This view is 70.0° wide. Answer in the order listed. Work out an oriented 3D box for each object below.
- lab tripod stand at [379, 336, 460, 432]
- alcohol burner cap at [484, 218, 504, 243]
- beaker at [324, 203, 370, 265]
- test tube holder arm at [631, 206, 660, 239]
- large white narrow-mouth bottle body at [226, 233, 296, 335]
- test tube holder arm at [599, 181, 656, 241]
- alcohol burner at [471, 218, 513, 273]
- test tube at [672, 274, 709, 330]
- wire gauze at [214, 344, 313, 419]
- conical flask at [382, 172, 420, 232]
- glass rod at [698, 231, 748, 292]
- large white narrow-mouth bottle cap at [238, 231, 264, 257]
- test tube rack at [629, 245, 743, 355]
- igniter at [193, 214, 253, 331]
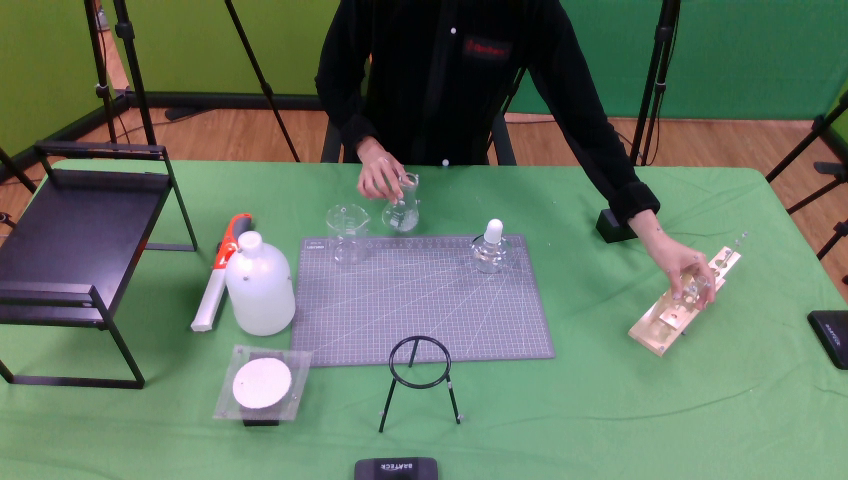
[{"bbox_3d":[-0.010,0.214,0.911,0.148,0.132,0.147,1,45,-1],"label":"lab tripod stand"},{"bbox_3d":[0.130,-0.021,1.106,0.034,0.048,0.033,3,51,-3],"label":"alcohol burner cap"},{"bbox_3d":[-0.142,-0.009,1.137,0.084,0.101,0.073,-2,47,-7],"label":"beaker"},{"bbox_3d":[0.432,-0.034,1.192,0.010,0.015,0.087,-23,51,-12],"label":"test tube holder arm"},{"bbox_3d":[-0.270,0.065,0.995,0.102,0.195,0.101,2,46,-2],"label":"large white narrow-mouth bottle body"},{"bbox_3d":[0.407,-0.062,1.219,0.013,0.015,0.177,-23,51,-12],"label":"test tube holder arm"},{"bbox_3d":[0.128,0.005,1.132,0.078,0.120,0.077,0,47,0],"label":"alcohol burner"},{"bbox_3d":[0.435,0.107,1.007,0.017,0.151,0.017,3,49,-3],"label":"test tube"},{"bbox_3d":[-0.241,0.213,0.915,0.121,0.011,0.124,5,46,1],"label":"wire gauze"},{"bbox_3d":[-0.037,-0.077,1.159,0.075,0.122,0.075,6,53,-7],"label":"conical flask"},{"bbox_3d":[0.514,0.044,1.051,0.008,0.200,0.008,1,55,-1],"label":"glass rod"},{"bbox_3d":[-0.266,0.006,0.932,0.038,0.024,0.037,2,46,-2],"label":"large white narrow-mouth bottle cap"},{"bbox_3d":[0.474,0.095,1.091,0.242,0.085,0.066,-34,56,-31],"label":"test tube rack"},{"bbox_3d":[-0.368,0.050,1.119,0.057,0.025,0.275,-3,46,8],"label":"igniter"}]
